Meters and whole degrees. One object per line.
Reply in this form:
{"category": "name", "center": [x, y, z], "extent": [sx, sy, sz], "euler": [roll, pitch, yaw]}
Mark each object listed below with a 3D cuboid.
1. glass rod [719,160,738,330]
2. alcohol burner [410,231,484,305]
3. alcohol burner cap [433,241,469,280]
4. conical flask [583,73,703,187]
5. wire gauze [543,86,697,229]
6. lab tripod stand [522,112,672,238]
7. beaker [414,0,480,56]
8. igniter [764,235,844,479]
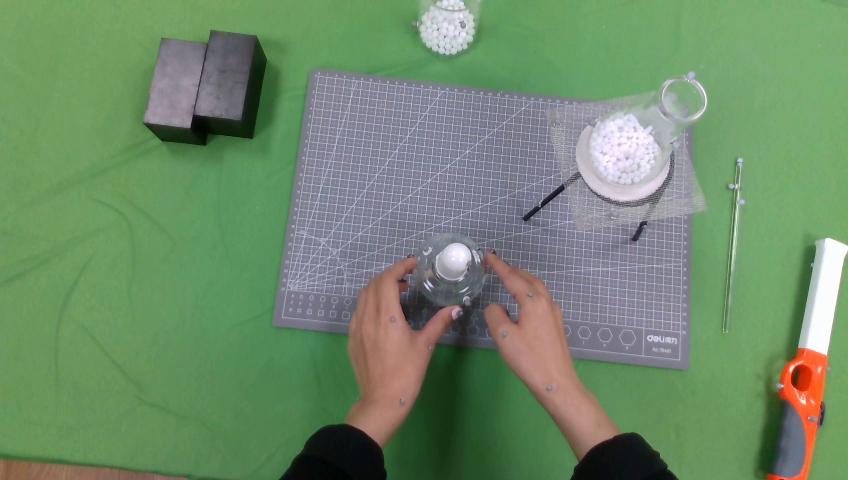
{"category": "glass rod", "center": [0.344, 0.003, 0.685], "extent": [0.008, 0.008, 0.199], "euler": [11, 78, 0]}
{"category": "alcohol burner", "center": [0.025, 0.026, 0.610], "extent": [0.078, 0.119, 0.077], "euler": [1, 80, -3]}
{"category": "alcohol burner cap", "center": [0.027, 0.017, 0.575], "extent": [0.034, 0.048, 0.033], "euler": [2, 75, -7]}
{"category": "conical flask", "center": [0.185, -0.094, 0.503], "extent": [0.075, 0.122, 0.075], "euler": [0, 80, -2]}
{"category": "wire gauze", "center": [0.182, -0.076, 0.560], "extent": [0.125, 0.011, 0.121], "euler": [-10, 82, -6]}
{"category": "lab tripod stand", "center": [0.181, -0.061, 0.624], "extent": [0.148, 0.132, 0.148], "euler": [0, 80, -1]}
{"category": "beaker", "center": [0.027, -0.262, 0.678], "extent": [0.084, 0.100, 0.074], "euler": [-34, 82, -9]}
{"category": "igniter", "center": [0.412, 0.127, 0.654], "extent": [0.057, 0.025, 0.275], "euler": [20, 78, -9]}
